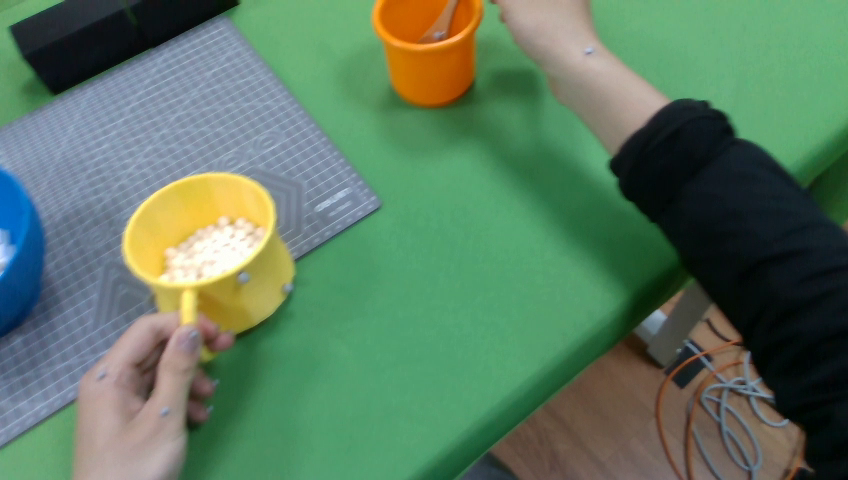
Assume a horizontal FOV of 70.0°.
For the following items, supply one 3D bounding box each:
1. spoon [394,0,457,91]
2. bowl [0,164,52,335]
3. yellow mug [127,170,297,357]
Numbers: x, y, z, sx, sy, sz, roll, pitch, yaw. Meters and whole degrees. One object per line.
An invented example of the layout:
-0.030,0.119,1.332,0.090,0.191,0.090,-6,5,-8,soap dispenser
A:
0.031,-0.210,0.504,0.041,0.194,0.022,44,28,21,spoon
-0.335,0.023,0.441,0.151,0.077,0.150,-2,60,4,bowl
-0.145,0.019,0.423,0.100,0.064,0.129,-7,53,-2,yellow mug
